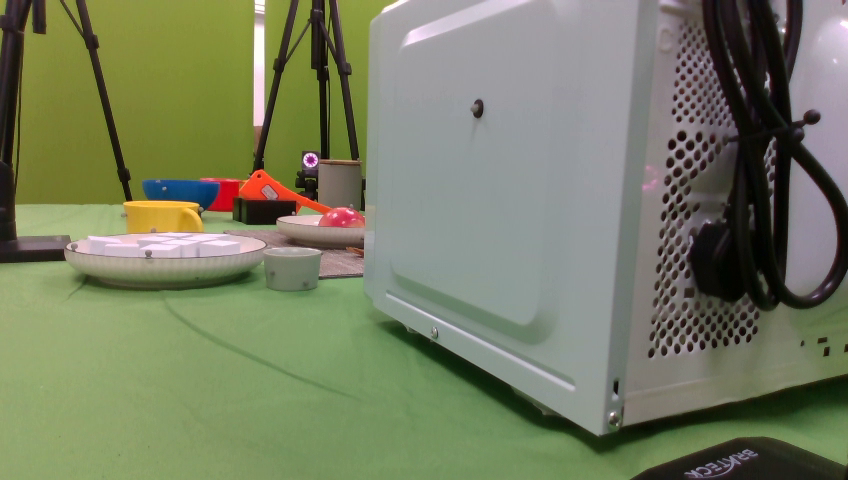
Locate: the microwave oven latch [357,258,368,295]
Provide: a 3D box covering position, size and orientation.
[{"bbox_3d":[-0.019,0.031,0.529,0.079,0.029,0.030,-1,7,-26],"label":"microwave oven latch"}]

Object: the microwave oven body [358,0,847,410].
[{"bbox_3d":[0.210,-0.051,0.471,0.444,0.260,0.324,-1,7,-28],"label":"microwave oven body"}]

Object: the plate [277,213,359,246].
[{"bbox_3d":[-0.135,-0.018,0.994,0.209,0.038,0.209,2,7,0],"label":"plate"}]

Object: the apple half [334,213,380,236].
[{"bbox_3d":[-0.112,-0.029,1.034,0.081,0.033,0.081,1,10,0],"label":"apple half"}]

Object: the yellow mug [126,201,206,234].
[{"bbox_3d":[-0.360,-0.019,0.866,0.130,0.064,0.100,6,9,27],"label":"yellow mug"}]

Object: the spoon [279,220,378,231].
[{"bbox_3d":[-0.173,-0.030,1.128,0.195,0.021,0.041,-3,-13,-30],"label":"spoon"}]

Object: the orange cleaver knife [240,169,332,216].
[{"bbox_3d":[-0.286,-0.082,1.298,0.212,0.077,0.012,25,-2,-31],"label":"orange cleaver knife"}]

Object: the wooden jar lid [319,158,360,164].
[{"bbox_3d":[-0.203,-0.189,1.482,0.108,0.020,0.108,2,10,0],"label":"wooden jar lid"}]

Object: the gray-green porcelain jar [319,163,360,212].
[{"bbox_3d":[-0.204,-0.126,1.490,0.106,0.126,0.106,2,7,0],"label":"gray-green porcelain jar"}]

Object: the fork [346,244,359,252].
[{"bbox_3d":[-0.027,0.006,0.901,0.208,0.018,0.028,-7,-4,-43],"label":"fork"}]

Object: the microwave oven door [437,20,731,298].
[{"bbox_3d":[0.181,-0.076,0.618,0.358,0.243,0.039,-2,9,-28],"label":"microwave oven door"}]

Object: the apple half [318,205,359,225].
[{"bbox_3d":[-0.126,-0.029,0.954,0.081,0.053,0.074,-2,11,-33],"label":"apple half"}]

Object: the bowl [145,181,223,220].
[{"bbox_3d":[-0.499,-0.081,1.261,0.151,0.077,0.151,2,8,0],"label":"bowl"}]

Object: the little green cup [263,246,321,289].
[{"bbox_3d":[-0.142,0.029,0.649,0.061,0.038,0.061,3,7,0],"label":"little green cup"}]

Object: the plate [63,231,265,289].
[{"bbox_3d":[-0.288,0.021,0.687,0.208,0.039,0.207,2,8,0],"label":"plate"}]
